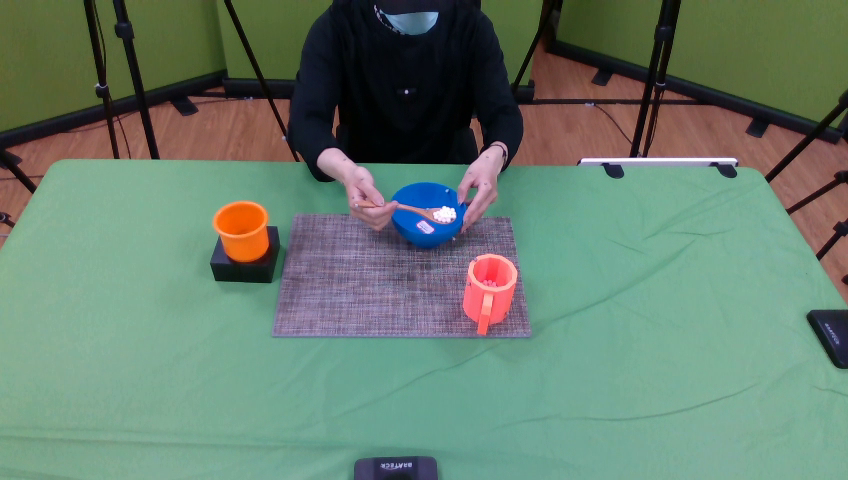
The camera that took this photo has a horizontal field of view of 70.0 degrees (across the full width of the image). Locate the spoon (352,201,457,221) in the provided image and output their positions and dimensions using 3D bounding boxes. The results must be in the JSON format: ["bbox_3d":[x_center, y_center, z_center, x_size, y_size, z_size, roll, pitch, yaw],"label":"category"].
[{"bbox_3d":[-0.033,-0.055,1.072,0.194,0.022,0.041,9,29,-22],"label":"spoon"}]

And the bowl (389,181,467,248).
[{"bbox_3d":[0.006,-0.037,1.189,0.151,0.077,0.150,2,46,-2],"label":"bowl"}]

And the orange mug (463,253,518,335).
[{"bbox_3d":[0.113,0.098,1.050,0.083,0.101,0.125,10,42,6],"label":"orange mug"}]
